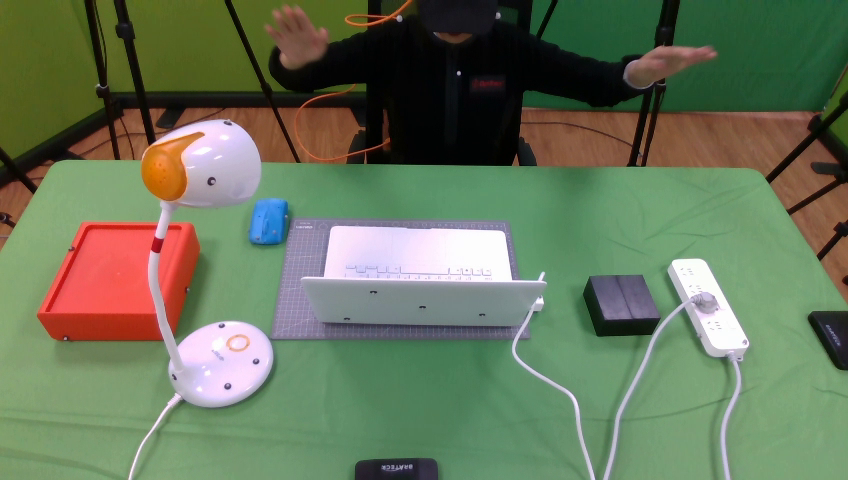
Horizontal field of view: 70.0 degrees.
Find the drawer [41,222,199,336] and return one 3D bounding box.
[{"bbox_3d":[-0.519,0.064,1.058,0.195,0.073,0.210,1,46,-4],"label":"drawer"}]

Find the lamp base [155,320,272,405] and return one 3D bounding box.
[{"bbox_3d":[-0.330,0.149,0.918,0.160,0.181,0.179,26,52,20],"label":"lamp base"}]

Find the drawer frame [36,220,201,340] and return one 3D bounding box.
[{"bbox_3d":[-0.518,0.065,1.055,0.202,0.083,0.212,0,47,-5],"label":"drawer frame"}]

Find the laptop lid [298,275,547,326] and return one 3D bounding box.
[{"bbox_3d":[-0.004,0.099,0.947,0.357,0.242,0.013,2,67,-4],"label":"laptop lid"}]

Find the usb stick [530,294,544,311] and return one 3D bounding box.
[{"bbox_3d":[0.183,0.111,1.086,0.059,0.027,0.021,0,47,-4],"label":"usb stick"}]

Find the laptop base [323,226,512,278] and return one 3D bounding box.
[{"bbox_3d":[-0.011,0.063,1.137,0.354,0.023,0.234,1,42,-3],"label":"laptop base"}]

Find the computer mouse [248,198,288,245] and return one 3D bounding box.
[{"bbox_3d":[-0.309,-0.041,1.205,0.063,0.041,0.116,3,49,-3],"label":"computer mouse"}]

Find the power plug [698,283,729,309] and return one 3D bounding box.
[{"bbox_3d":[0.510,0.096,1.060,0.052,0.073,0.035,-20,61,8],"label":"power plug"}]

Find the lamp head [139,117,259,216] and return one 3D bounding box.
[{"bbox_3d":[-0.281,-0.086,0.734,0.112,0.113,0.123,21,25,16],"label":"lamp head"}]

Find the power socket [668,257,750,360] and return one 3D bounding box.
[{"bbox_3d":[0.517,0.117,1.110,0.072,0.033,0.225,-3,47,-4],"label":"power socket"}]
